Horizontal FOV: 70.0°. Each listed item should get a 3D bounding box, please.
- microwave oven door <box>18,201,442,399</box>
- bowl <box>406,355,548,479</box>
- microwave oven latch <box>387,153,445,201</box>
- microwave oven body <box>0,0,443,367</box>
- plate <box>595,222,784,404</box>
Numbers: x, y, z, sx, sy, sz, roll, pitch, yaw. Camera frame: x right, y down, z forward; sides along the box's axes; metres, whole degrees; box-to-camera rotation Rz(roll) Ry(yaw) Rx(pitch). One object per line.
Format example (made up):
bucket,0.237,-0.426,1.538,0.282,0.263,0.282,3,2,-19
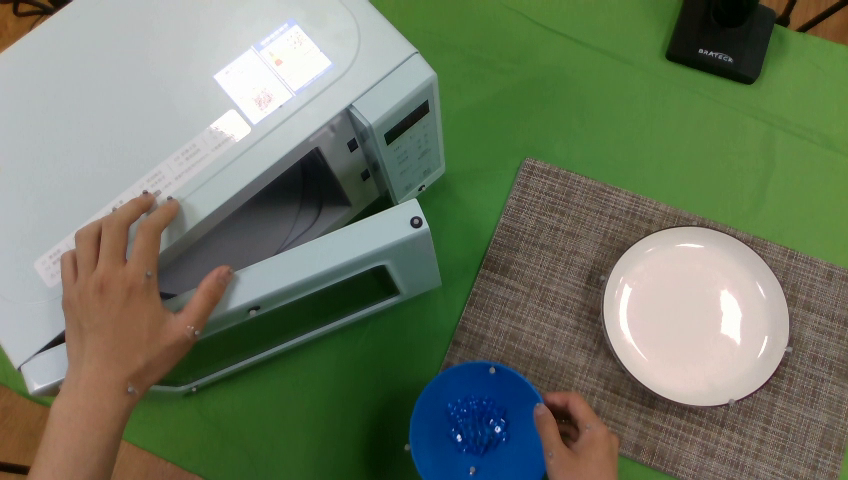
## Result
microwave oven door,-0.157,0.073,0.611,0.356,0.245,0.039,-23,73,-3
bowl,0.059,0.207,0.669,0.151,0.077,0.150,-2,73,6
microwave oven latch,-0.011,-0.084,0.748,0.079,0.029,0.030,-38,77,-6
microwave oven body,-0.248,-0.102,0.666,0.441,0.261,0.324,-40,77,-6
plate,0.301,0.083,0.701,0.207,0.039,0.206,-1,76,3
